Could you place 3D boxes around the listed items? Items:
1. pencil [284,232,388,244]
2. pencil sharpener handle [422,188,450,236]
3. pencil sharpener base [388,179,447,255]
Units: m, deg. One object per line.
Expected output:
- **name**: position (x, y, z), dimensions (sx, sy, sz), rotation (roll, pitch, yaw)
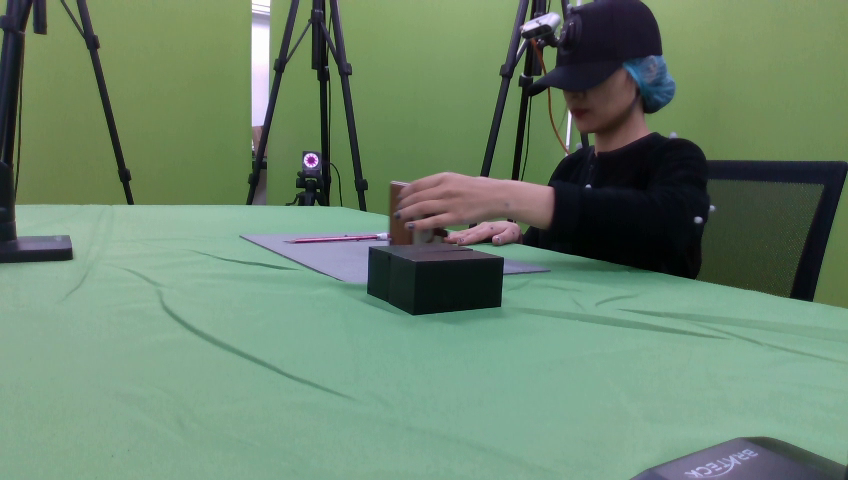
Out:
- **pencil**: position (-0.138, -0.002, 1.003), dimensions (0.195, 0.012, 0.012), rotation (-4, 9, -33)
- **pencil sharpener handle**: position (0.022, -0.040, 0.862), dimensions (0.036, 0.068, 0.030), rotation (-17, 18, -30)
- **pencil sharpener base**: position (-0.009, -0.035, 0.904), dimensions (0.062, 0.107, 0.076), rotation (-3, 10, -33)
